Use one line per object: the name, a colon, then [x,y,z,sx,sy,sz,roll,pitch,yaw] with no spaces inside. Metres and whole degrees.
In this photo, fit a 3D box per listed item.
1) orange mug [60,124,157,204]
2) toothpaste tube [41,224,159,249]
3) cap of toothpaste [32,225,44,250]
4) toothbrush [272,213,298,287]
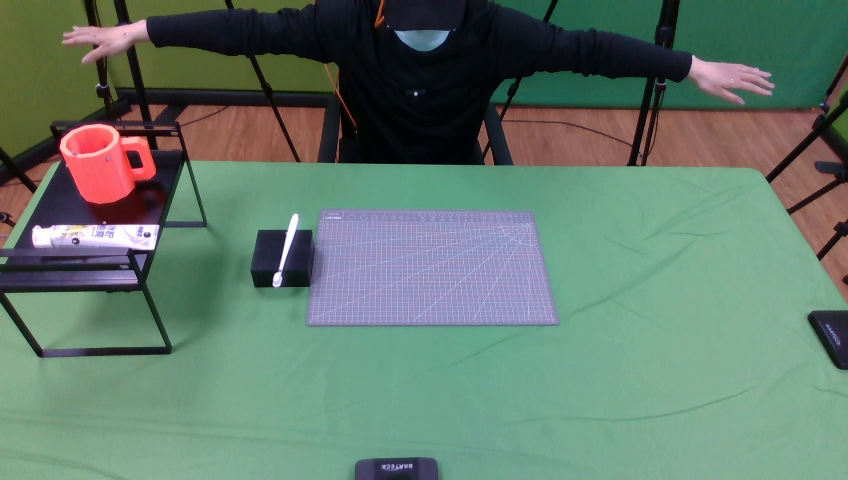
orange mug: [-0.505,-0.127,0.980,0.126,0.101,0.083,-13,48,-10]
toothpaste tube: [-0.491,-0.004,0.913,0.165,0.035,0.054,-2,50,-12]
cap of toothpaste: [-0.569,-0.004,0.899,0.011,0.037,0.037,-2,46,-11]
toothbrush: [-0.252,0.012,1.104,0.014,0.017,0.181,2,46,2]
